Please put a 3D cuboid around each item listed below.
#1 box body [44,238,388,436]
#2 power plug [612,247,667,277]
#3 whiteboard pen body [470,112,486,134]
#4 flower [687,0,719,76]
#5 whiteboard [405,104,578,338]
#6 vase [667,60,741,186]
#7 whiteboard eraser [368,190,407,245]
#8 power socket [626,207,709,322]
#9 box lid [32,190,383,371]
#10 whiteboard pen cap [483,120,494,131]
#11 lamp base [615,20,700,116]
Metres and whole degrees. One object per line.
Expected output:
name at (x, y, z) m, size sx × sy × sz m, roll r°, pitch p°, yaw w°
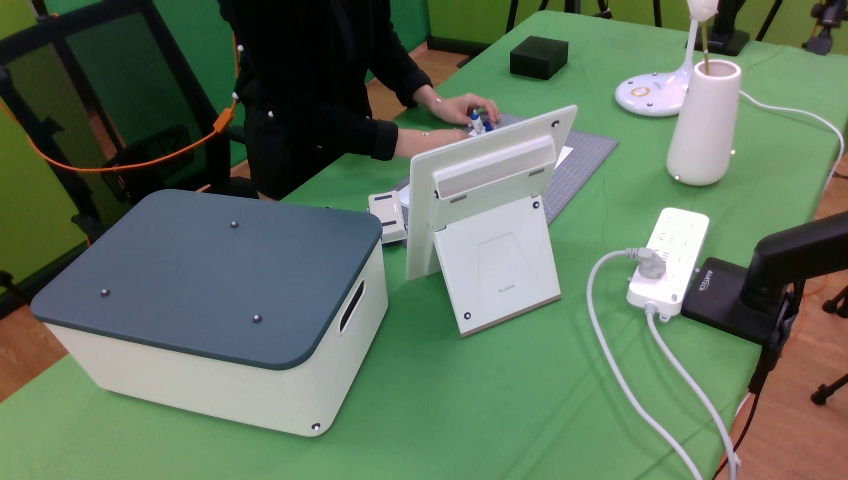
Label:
box body at (-0.251, 0.088, 0.799) m, size 0.362 × 0.161 × 0.254 m, roll 7°, pitch 42°, yaw 16°
power plug at (0.306, 0.031, 0.852) m, size 0.072 × 0.053 × 0.035 m, roll 21°, pitch 48°, yaw 37°
whiteboard pen body at (0.107, -0.182, 1.086) m, size 0.017 × 0.142 × 0.017 m, roll -9°, pitch 61°, yaw 16°
flower at (0.436, -0.242, 0.934) m, size 0.038 × 0.364 × 0.043 m, roll -24°, pitch 49°, yaw 8°
whiteboard at (0.102, 0.003, 0.787) m, size 0.218 × 0.306 × 0.143 m, roll -19°, pitch 62°, yaw -14°
vase at (0.463, -0.189, 0.994) m, size 0.098 × 0.201 × 0.097 m, roll -4°, pitch 40°, yaw 4°
whiteboard eraser at (-0.061, -0.035, 1.006) m, size 0.056 × 0.042 × 0.112 m, roll -9°, pitch 40°, yaw -3°
power socket at (0.360, 0.026, 0.886) m, size 0.072 × 0.033 × 0.227 m, roll 17°, pitch 46°, yaw 27°
box lid at (-0.257, 0.032, 0.750) m, size 0.370 × 0.015 × 0.263 m, roll 7°, pitch 42°, yaw 16°
whiteboard pen cap at (0.130, -0.227, 1.223) m, size 0.018 × 0.018 × 0.033 m, roll -13°, pitch 45°, yaw -7°
lamp base at (0.484, -0.364, 1.211) m, size 0.180 × 0.181 × 0.159 m, roll -15°, pitch 41°, yaw -14°
